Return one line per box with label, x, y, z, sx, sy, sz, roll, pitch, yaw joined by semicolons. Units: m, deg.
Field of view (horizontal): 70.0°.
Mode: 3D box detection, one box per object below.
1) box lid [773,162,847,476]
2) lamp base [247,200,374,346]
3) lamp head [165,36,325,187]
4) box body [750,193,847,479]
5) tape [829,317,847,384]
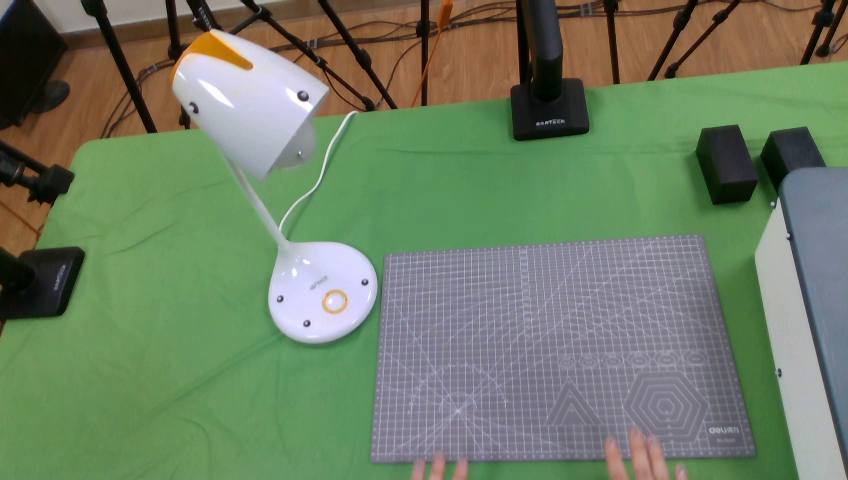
box lid;0.511;0.068;0.584;0.263;0.015;0.368;-1;59;10
lamp base;-0.172;0.031;0.815;0.177;0.182;0.160;32;69;29
lamp head;-0.171;-0.124;0.559;0.123;0.112;0.112;33;65;-10
box body;0.523;0.109;0.645;0.254;0.162;0.361;-1;58;10
tape;0.534;0.125;0.691;0.117;0.053;0.116;-4;58;7
